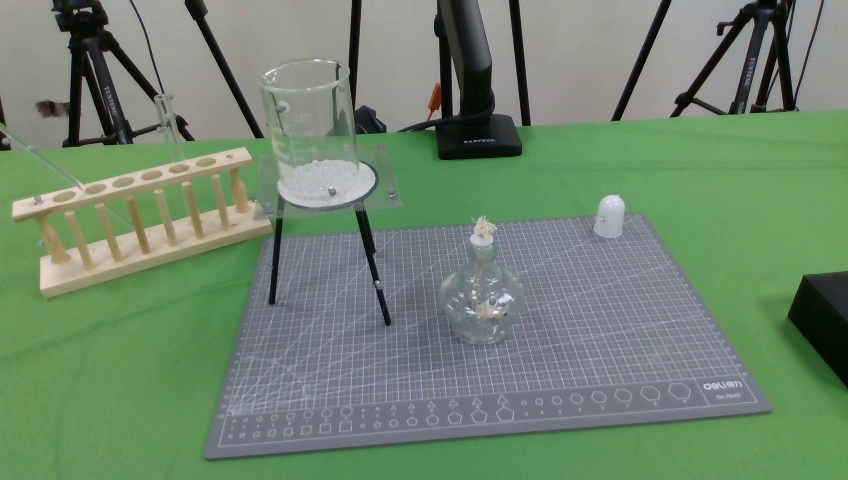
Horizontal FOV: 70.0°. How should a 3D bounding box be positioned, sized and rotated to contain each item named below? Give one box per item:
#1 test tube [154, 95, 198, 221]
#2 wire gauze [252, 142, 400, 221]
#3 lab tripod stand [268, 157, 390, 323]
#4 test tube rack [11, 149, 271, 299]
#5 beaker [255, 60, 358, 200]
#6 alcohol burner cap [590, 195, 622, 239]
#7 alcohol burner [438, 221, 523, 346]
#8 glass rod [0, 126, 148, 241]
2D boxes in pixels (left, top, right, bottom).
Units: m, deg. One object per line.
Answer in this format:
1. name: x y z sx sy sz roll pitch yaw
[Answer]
1. test tube: -0.275 -0.087 0.675 0.017 0.151 0.017 -1 32 1
2. wire gauze: -0.090 -0.053 0.543 0.125 0.011 0.120 -10 34 -5
3. lab tripod stand: -0.088 0.000 0.581 0.148 0.132 0.147 -2 37 2
4. test tube rack: -0.305 -0.023 0.673 0.243 0.086 0.066 -18 38 -21
5. beaker: -0.098 -0.092 0.513 0.083 0.101 0.074 14 38 24
6. alcohol burner cap: 0.207 -0.029 0.684 0.034 0.048 0.033 -1 35 1
7. alcohol burner: 0.050 0.035 0.541 0.078 0.120 0.077 -2 34 2
8. glass rod: -0.365 -0.057 0.627 0.008 0.202 0.008 -20 44 21
